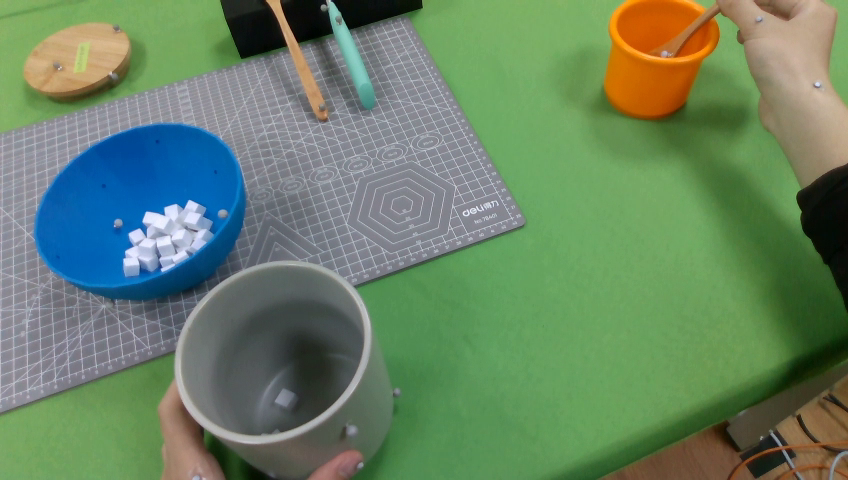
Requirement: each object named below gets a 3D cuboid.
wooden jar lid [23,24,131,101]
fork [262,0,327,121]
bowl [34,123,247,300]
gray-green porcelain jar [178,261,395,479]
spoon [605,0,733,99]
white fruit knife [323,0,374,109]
[{"bbox_3d":[-0.359,-0.184,0.633,0.108,0.021,0.107,-1,57,2],"label":"wooden jar lid"},{"bbox_3d":[-0.137,-0.206,0.592,0.028,0.019,0.206,-21,77,-15],"label":"fork"},{"bbox_3d":[-0.204,-0.010,0.472,0.151,0.077,0.150,-2,57,3],"label":"bowl"},{"bbox_3d":[-0.074,0.089,0.374,0.106,0.127,0.105,-2,57,4],"label":"gray-green porcelain jar"},{"bbox_3d":[0.238,-0.188,0.515,0.022,0.194,0.041,9,52,-43],"label":"spoon"},{"bbox_3d":[-0.091,-0.221,0.600,0.016,0.027,0.206,-20,72,-10],"label":"white fruit knife"}]
